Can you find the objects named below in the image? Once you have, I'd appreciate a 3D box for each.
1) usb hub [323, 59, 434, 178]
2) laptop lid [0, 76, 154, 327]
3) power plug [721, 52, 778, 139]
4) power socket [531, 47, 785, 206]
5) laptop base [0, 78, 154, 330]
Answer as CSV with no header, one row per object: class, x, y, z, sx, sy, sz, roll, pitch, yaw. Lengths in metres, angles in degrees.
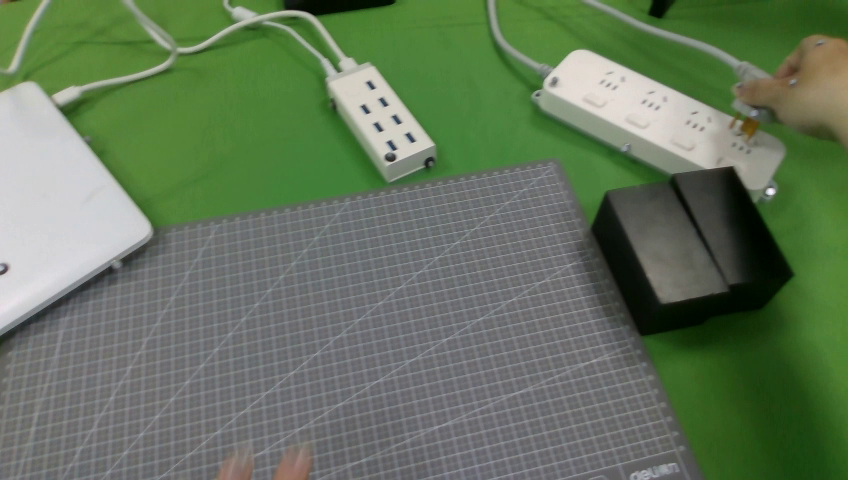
usb hub,-0.043,-0.112,0.547,0.049,0.025,0.124,-26,61,-16
laptop lid,-0.414,0.017,0.450,0.356,0.013,0.239,-36,66,-21
power plug,0.269,-0.120,0.510,0.035,0.053,0.072,13,33,-11
power socket,0.205,-0.106,0.539,0.225,0.033,0.072,33,62,20
laptop base,-0.416,0.022,0.461,0.354,0.023,0.234,-38,68,-22
